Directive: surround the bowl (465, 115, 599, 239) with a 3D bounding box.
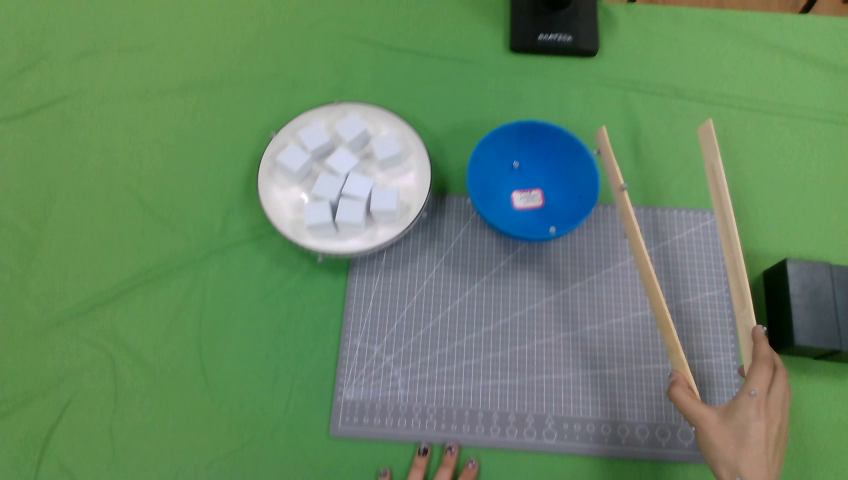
[{"bbox_3d":[0.120,-0.062,0.710,0.151,0.077,0.150,1,70,-1],"label":"bowl"}]

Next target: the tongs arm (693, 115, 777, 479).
[{"bbox_3d":[0.318,0.049,0.631,0.028,0.028,0.385,2,74,-15],"label":"tongs arm"}]

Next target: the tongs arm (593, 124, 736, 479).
[{"bbox_3d":[0.250,0.057,0.616,0.051,0.026,0.382,-9,76,-15],"label":"tongs arm"}]

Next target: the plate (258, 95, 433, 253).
[{"bbox_3d":[-0.093,-0.078,0.734,0.208,0.039,0.206,0,69,0],"label":"plate"}]
